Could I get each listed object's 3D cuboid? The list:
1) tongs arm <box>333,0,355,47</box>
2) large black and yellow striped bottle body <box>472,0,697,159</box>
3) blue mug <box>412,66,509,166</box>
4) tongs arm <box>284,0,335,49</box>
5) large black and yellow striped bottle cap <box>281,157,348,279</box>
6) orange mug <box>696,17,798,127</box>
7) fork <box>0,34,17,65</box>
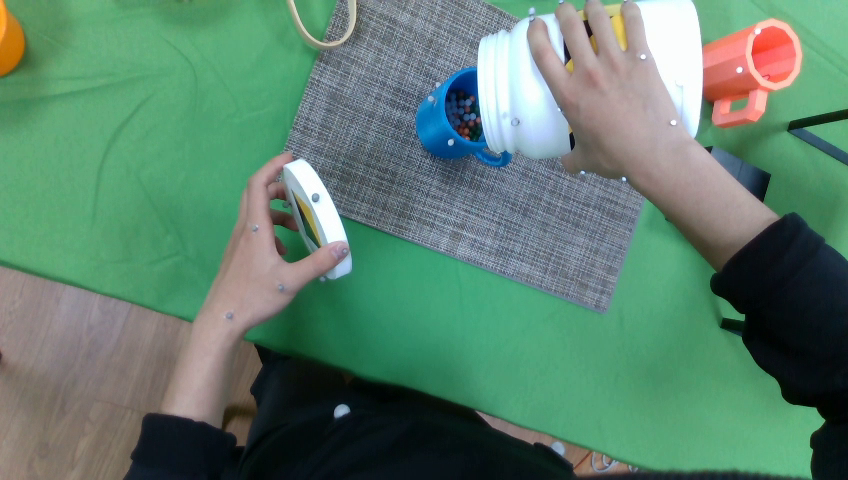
[{"bbox_3d":[-0.095,-0.409,0.649,0.028,0.027,0.388,-6,100,-24],"label":"tongs arm"},{"bbox_3d":[0.145,-0.145,0.560,0.183,0.131,0.131,-3,92,16],"label":"large black and yellow striped bottle body"},{"bbox_3d":[0.049,-0.128,0.678,0.082,0.105,0.117,-46,102,-11],"label":"blue mug"},{"bbox_3d":[-0.174,-0.389,0.624,0.051,0.026,0.386,-20,104,-18],"label":"tongs arm"},{"bbox_3d":[-0.103,-0.019,0.560,0.019,0.114,0.115,-23,97,-21],"label":"large black and yellow striped bottle cap"},{"bbox_3d":[0.409,-0.213,0.787,0.084,0.100,0.126,10,84,-16],"label":"orange mug"},{"bbox_3d":[-0.450,-0.220,0.511,0.028,0.018,0.209,-59,148,-8],"label":"fork"}]
